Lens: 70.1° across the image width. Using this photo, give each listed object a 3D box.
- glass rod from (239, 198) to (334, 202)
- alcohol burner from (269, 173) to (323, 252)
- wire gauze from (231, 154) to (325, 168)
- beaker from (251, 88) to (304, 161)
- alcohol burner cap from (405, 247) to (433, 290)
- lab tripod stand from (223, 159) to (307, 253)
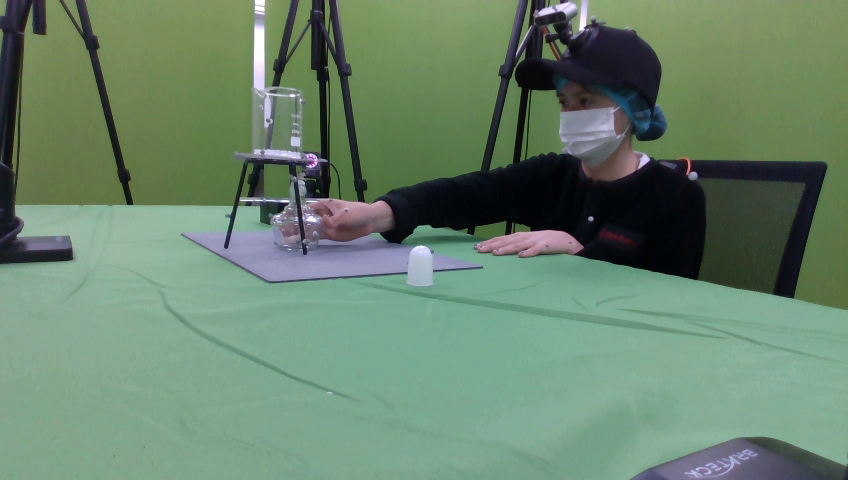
[{"bbox_3d":[-0.277,-0.081,1.232,0.201,0.008,0.008,-1,8,-30],"label":"glass rod"},{"bbox_3d":[-0.190,-0.042,0.898,0.078,0.119,0.078,1,9,0],"label":"alcohol burner"},{"bbox_3d":[-0.215,-0.117,0.882,0.125,0.011,0.121,3,7,-19],"label":"wire gauze"},{"bbox_3d":[-0.214,-0.165,0.874,0.074,0.100,0.084,4,6,15],"label":"beaker"},{"bbox_3d":[-0.005,0.031,0.698,0.034,0.048,0.034,3,8,0],"label":"alcohol burner cap"},{"bbox_3d":[-0.220,-0.053,0.896,0.148,0.131,0.148,1,5,0],"label":"lab tripod stand"}]
